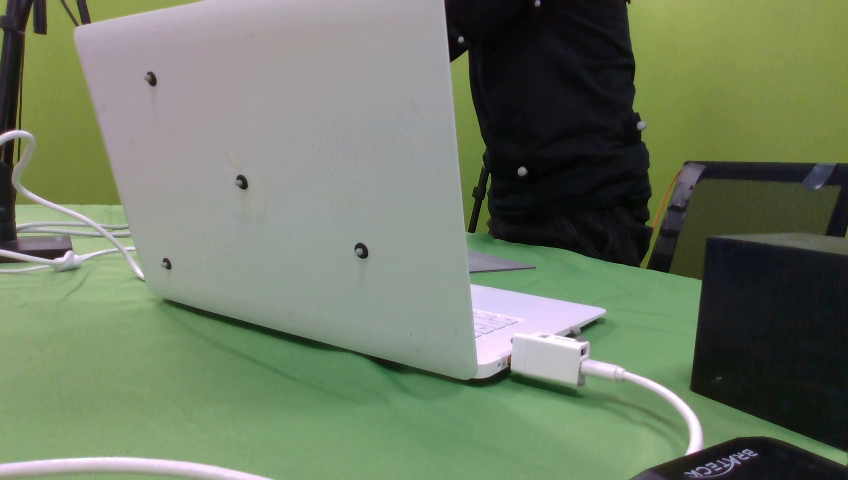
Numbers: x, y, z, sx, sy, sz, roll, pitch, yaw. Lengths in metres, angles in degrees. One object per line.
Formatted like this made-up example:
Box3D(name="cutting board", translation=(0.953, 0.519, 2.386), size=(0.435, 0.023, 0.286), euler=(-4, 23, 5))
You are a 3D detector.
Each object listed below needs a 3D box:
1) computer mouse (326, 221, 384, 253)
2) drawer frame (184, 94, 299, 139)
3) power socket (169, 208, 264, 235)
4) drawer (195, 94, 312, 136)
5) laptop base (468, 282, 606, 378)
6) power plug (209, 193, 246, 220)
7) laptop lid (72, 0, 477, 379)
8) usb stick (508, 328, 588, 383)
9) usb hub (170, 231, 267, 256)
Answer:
Box3D(name="computer mouse", translation=(-0.103, -0.005, 0.926), size=(0.063, 0.041, 0.117), euler=(5, 11, 11))
Box3D(name="drawer frame", translation=(-0.419, -0.277, 1.378), size=(0.203, 0.082, 0.212), euler=(-4, 8, -34))
Box3D(name="power socket", translation=(-0.381, -0.038, 1.129), size=(0.072, 0.032, 0.227), euler=(4, 8, 16))
Box3D(name="drawer", translation=(-0.372, -0.265, 1.308), size=(0.195, 0.073, 0.210), euler=(-3, 9, -33))
Box3D(name="laptop base", translation=(-0.042, 0.058, 0.554), size=(0.352, 0.023, 0.237), euler=(7, 7, 35))
Box3D(name="power plug", translation=(-0.388, -0.067, 1.206), size=(0.072, 0.052, 0.035), euler=(4, 8, 27))
Box3D(name="laptop lid", translation=(-0.125, -0.042, 0.418), size=(0.355, 0.241, 0.013), euler=(9, 25, 34))
Box3D(name="usb stick", translation=(0.072, 0.072, 0.383), size=(0.059, 0.027, 0.021), euler=(2, 2, 34))
Box3D(name="usb hub", translation=(-0.290, 0.004, 0.863), size=(0.049, 0.025, 0.126), euler=(10, 11, 42))
